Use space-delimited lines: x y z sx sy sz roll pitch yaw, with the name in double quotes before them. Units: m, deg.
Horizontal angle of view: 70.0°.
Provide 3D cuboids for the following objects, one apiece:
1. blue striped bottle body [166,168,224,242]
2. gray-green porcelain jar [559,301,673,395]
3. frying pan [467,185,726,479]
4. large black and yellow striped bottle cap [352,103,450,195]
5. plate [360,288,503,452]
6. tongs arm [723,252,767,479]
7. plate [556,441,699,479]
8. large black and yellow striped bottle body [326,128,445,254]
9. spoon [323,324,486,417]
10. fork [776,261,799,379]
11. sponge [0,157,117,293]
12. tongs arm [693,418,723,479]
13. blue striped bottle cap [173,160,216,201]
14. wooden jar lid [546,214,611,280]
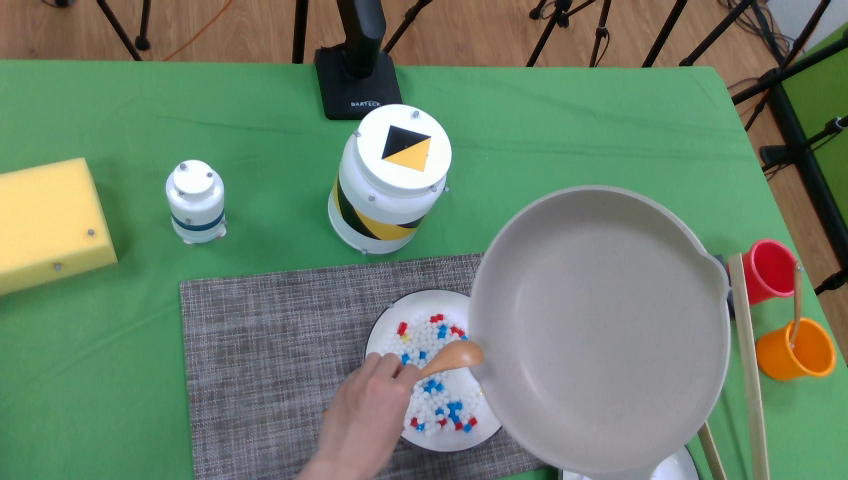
"blue striped bottle body" -0.273 -0.048 0.728 0.063 0.121 0.062 7 66 -15
"gray-green porcelain jar" 0.250 0.150 0.815 0.106 0.127 0.105 7 66 -15
"frying pan" 0.187 0.183 0.599 0.103 0.306 0.483 16 58 -40
"large black and yellow striped bottle cap" -0.025 -0.107 0.705 0.115 0.019 0.114 7 67 -16
"plate" 0.018 0.164 0.777 0.210 0.038 0.207 7 66 -15
"tongs arm" 0.465 0.208 0.881 0.028 0.028 0.385 6 76 -23
"plate" 0.265 0.324 0.797 0.208 0.039 0.206 7 66 -15
"large black and yellow striped bottle body" -0.050 -0.073 0.778 0.131 0.184 0.129 7 65 -15
"spoon" -0.017 0.141 0.647 0.194 0.022 0.041 -28 54 -16
"fork" 0.551 0.123 0.912 0.028 0.018 0.209 -19 119 -16
"sponge" -0.473 -0.007 0.678 0.207 0.061 0.117 -19 75 -25
"tongs arm" 0.385 0.215 0.851 0.051 0.026 0.383 -10 82 -23
"blue striped bottle cap" -0.259 -0.067 0.682 0.045 0.021 0.044 7 64 -13
"wooden jar lid" 0.235 0.011 0.929 0.109 0.021 0.107 7 67 -16
